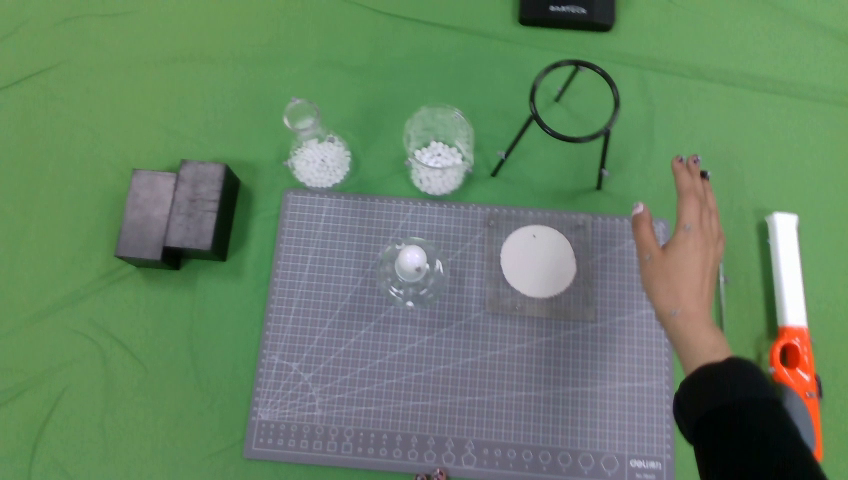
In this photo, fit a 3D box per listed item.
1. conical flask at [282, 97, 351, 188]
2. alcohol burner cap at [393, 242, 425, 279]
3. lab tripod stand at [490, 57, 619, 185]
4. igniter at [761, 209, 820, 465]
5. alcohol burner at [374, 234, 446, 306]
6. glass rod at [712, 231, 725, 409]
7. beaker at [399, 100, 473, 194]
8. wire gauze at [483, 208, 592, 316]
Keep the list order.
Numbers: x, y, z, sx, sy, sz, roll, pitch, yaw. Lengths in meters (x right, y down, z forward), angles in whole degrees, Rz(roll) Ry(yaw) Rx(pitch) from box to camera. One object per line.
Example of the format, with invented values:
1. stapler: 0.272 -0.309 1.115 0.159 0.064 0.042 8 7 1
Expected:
1. conical flask: -0.123 -0.110 0.663 0.075 0.122 0.075 0 75 0
2. alcohol burner cap: -0.013 0.018 0.595 0.034 0.048 0.033 1 76 -6
3. lab tripod stand: 0.146 -0.123 0.662 0.148 0.132 0.147 0 77 1
4. igniter: 0.397 0.100 0.661 0.057 0.025 0.275 5 76 -10
5. alcohol burner: -0.015 0.028 0.630 0.078 0.119 0.077 0 77 -1
6. glass rod: 0.328 0.086 0.673 0.008 0.008 0.198 5 75 1
7. beaker: 0.015 -0.096 0.672 0.083 0.100 0.074 40 79 9
8. wire gauze: 0.128 0.023 0.687 0.125 0.011 0.121 3 76 -2
